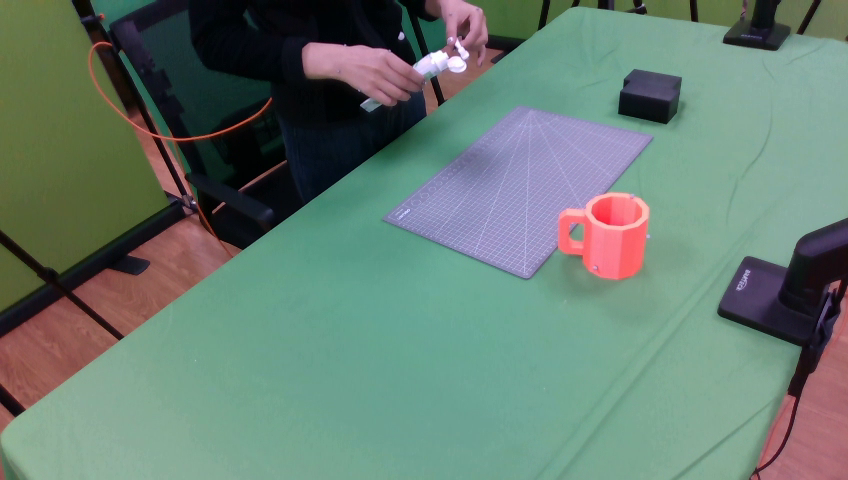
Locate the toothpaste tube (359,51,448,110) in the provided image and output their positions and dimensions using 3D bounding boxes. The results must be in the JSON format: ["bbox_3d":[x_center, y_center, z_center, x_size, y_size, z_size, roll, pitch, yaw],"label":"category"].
[{"bbox_3d":[-0.032,-0.265,1.013,0.165,0.055,0.034,-29,82,9],"label":"toothpaste tube"}]

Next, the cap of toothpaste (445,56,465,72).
[{"bbox_3d":[0.051,-0.298,1.019,0.037,0.011,0.037,3,56,-4],"label":"cap of toothpaste"}]

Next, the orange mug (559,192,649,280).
[{"bbox_3d":[0.261,-0.008,0.884,0.126,0.101,0.083,9,43,14],"label":"orange mug"}]

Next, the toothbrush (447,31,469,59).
[{"bbox_3d":[0.057,-0.351,1.077,0.014,0.017,0.181,-39,27,14],"label":"toothbrush"}]
